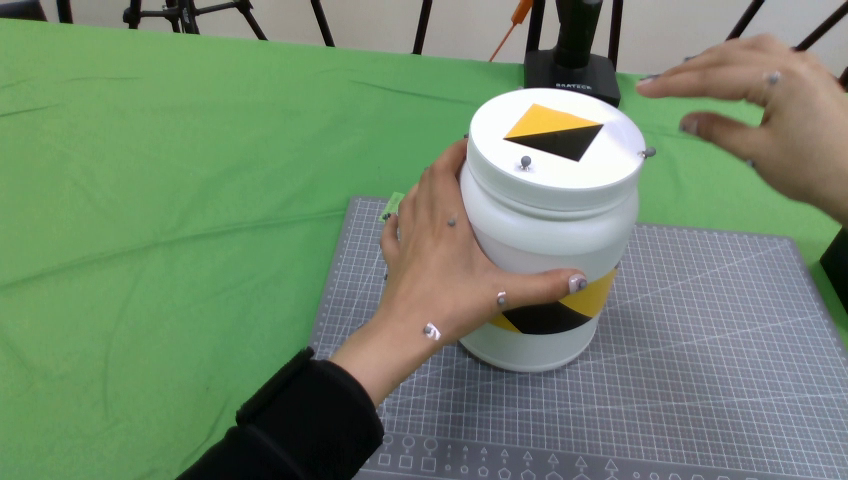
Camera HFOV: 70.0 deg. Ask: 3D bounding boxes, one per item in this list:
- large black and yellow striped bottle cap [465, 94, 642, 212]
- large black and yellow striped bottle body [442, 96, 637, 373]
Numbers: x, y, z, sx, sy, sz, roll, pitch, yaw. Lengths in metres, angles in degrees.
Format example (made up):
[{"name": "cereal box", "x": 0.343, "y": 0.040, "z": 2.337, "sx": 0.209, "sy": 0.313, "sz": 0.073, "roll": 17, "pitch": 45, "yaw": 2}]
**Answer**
[{"name": "large black and yellow striped bottle cap", "x": 0.084, "y": -0.061, "z": 0.401, "sx": 0.115, "sy": 0.019, "sz": 0.114, "roll": 2, "pitch": 43, "yaw": -2}, {"name": "large black and yellow striped bottle body", "x": 0.083, "y": -0.001, "z": 0.460, "sx": 0.131, "sy": 0.185, "sz": 0.129, "roll": 2, "pitch": 44, "yaw": -1}]
